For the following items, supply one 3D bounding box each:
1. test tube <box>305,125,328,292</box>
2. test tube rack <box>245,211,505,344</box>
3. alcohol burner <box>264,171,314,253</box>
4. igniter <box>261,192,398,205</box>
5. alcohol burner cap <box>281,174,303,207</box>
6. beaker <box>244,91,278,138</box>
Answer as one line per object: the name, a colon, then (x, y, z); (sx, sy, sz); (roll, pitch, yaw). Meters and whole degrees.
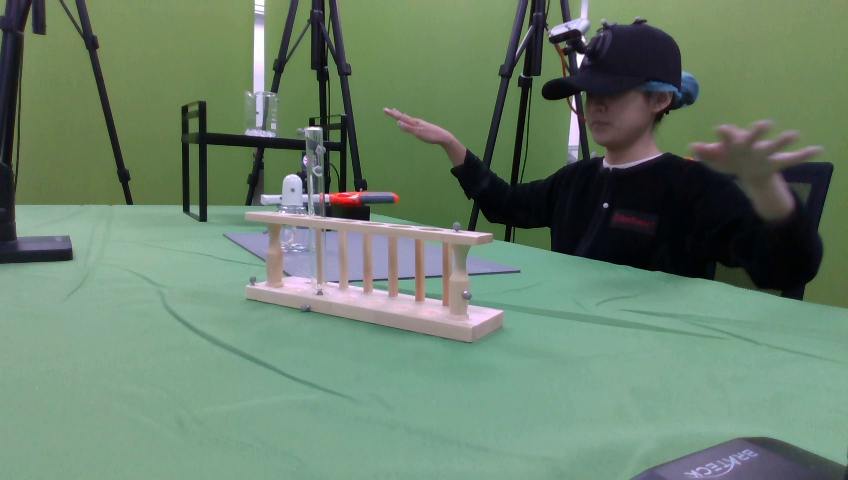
test tube: (-0.096, -0.027, 0.546); (0.017, 0.150, 0.017); (0, 8, 0)
test tube rack: (-0.049, 0.025, 0.547); (0.241, 0.085, 0.067); (7, 8, 29)
alcohol burner: (-0.194, -0.042, 0.888); (0.078, 0.119, 0.078); (3, 5, 0)
igniter: (-0.185, -0.083, 1.217); (0.278, 0.025, 0.057); (-2, 12, -25)
alcohol burner cap: (-0.193, -0.072, 0.884); (0.034, 0.048, 0.034); (1, 5, 0)
beaker: (-0.368, -0.280, 1.356); (0.074, 0.100, 0.084); (4, 8, 6)
